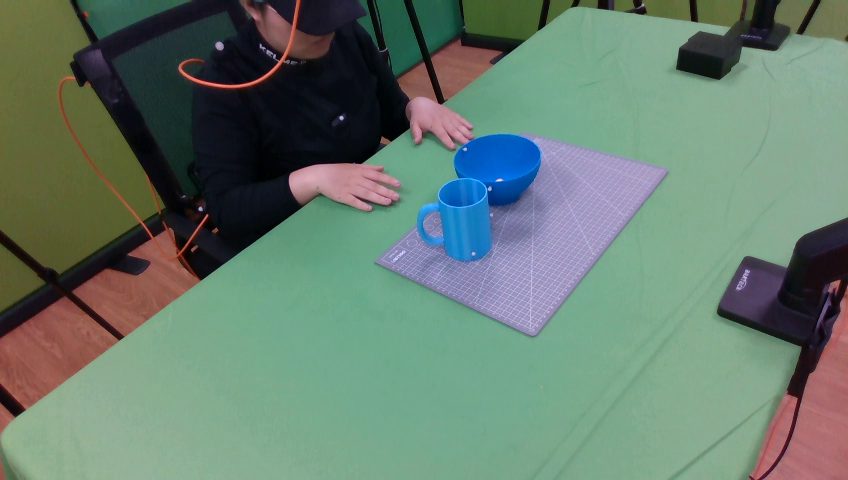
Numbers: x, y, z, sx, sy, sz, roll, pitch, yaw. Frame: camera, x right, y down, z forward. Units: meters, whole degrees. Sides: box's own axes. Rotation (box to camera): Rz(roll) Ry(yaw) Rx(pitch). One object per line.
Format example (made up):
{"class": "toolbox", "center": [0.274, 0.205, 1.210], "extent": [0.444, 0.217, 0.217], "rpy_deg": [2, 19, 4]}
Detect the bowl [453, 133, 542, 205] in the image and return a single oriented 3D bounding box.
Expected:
{"class": "bowl", "center": [0.129, -0.113, 1.045], "extent": [0.151, 0.077, 0.150], "rpy_deg": [-5, 40, 5]}

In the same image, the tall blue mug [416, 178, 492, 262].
{"class": "tall blue mug", "center": [0.051, -0.025, 0.931], "extent": [0.107, 0.108, 0.077], "rpy_deg": [-27, 44, -20]}
